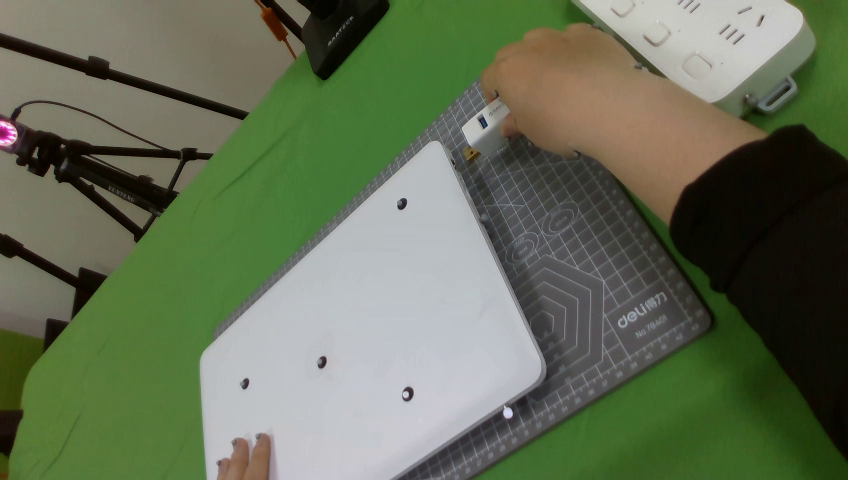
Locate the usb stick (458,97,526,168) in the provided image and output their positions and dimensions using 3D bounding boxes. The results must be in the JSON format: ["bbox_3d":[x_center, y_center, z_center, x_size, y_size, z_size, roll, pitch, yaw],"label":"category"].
[{"bbox_3d":[0.046,-0.078,0.456,0.059,0.027,0.021,-41,51,30],"label":"usb stick"}]

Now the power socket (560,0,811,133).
[{"bbox_3d":[0.159,-0.154,0.410,0.072,0.033,0.224,-42,45,19],"label":"power socket"}]

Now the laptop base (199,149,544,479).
[{"bbox_3d":[-0.076,0.110,0.510,0.354,0.023,0.233,-40,49,22],"label":"laptop base"}]

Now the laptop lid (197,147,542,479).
[{"bbox_3d":[-0.083,0.107,0.501,0.357,0.013,0.239,-39,49,23],"label":"laptop lid"}]
